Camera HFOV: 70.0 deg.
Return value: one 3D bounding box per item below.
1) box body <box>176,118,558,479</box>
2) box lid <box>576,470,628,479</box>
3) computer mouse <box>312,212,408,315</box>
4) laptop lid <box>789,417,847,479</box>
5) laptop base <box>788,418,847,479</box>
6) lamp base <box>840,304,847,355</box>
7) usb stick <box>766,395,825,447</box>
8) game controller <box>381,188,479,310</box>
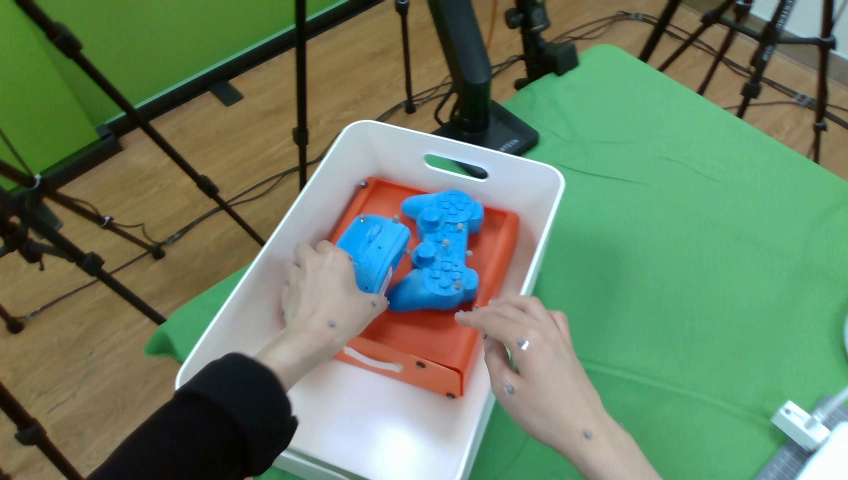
[{"bbox_3d":[-0.033,0.071,0.634,0.253,0.162,0.362,16,57,13],"label":"box body"},{"bbox_3d":[0.151,0.399,0.485,0.263,0.015,0.367,-23,57,-12],"label":"box lid"},{"bbox_3d":[-0.062,0.017,0.596,0.062,0.041,0.116,15,55,13],"label":"computer mouse"},{"bbox_3d":[0.452,0.342,0.492,0.241,0.013,0.353,-38,61,-19],"label":"laptop lid"},{"bbox_3d":[0.455,0.347,0.503,0.235,0.023,0.351,-40,62,-19],"label":"laptop base"},{"bbox_3d":[0.539,0.062,0.605,0.160,0.182,0.177,6,52,7],"label":"lamp base"},{"bbox_3d":[0.378,0.186,0.606,0.021,0.027,0.058,-32,62,-25],"label":"usb stick"},{"bbox_3d":[0.009,0.004,0.659,0.097,0.052,0.154,6,54,2],"label":"game controller"}]
